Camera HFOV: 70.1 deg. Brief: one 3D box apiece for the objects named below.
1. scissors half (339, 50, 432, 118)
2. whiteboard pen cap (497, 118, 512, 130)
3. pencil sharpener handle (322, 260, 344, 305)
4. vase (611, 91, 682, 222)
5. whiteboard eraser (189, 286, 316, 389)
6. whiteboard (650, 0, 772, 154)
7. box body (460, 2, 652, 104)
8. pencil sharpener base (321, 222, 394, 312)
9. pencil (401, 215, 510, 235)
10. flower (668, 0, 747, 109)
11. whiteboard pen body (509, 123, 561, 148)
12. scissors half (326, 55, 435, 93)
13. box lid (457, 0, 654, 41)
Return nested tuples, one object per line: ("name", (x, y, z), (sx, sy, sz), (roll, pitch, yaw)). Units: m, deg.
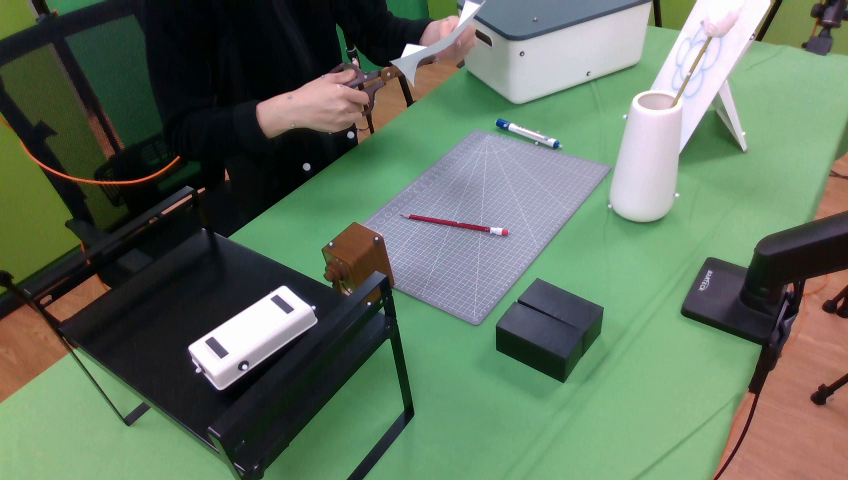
("scissors half", (-0.058, -0.236, 0.913), (0.174, 0.040, 0.013), (-31, 15, 25))
("whiteboard pen cap", (0.165, -0.235, 1.227), (0.033, 0.018, 0.018), (31, 53, 31))
("pencil sharpener handle", (-0.131, 0.061, 0.839), (0.035, 0.068, 0.031), (29, 56, 27))
("vase", (0.348, -0.125, 0.935), (0.098, 0.201, 0.097), (-3, 40, 3))
("whiteboard eraser", (-0.166, 0.096, 0.593), (0.113, 0.042, 0.055), (-36, 47, -29))
("whiteboard", (0.543, -0.298, 1.076), (0.144, 0.305, 0.216), (12, 40, -7))
("box body", (0.291, -0.465, 1.371), (0.365, 0.161, 0.252), (-22, 42, -16))
("pencil sharpener base", (-0.096, 0.041, 0.873), (0.061, 0.107, 0.077), (26, 54, 32))
("pencil", (0.049, -0.027, 1.007), (0.193, 0.012, 0.012), (10, 43, 21))
("flower", (0.354, -0.187, 0.879), (0.038, 0.362, 0.044), (30, 48, 14))
("whiteboard pen body", (0.209, -0.211, 1.195), (0.139, 0.017, 0.017), (30, 52, 33))
("scissors half", (-0.067, -0.254, 0.905), (0.174, 0.040, 0.013), (-7, 29, 15))
("box lid", (0.285, -0.522, 1.323), (0.373, 0.015, 0.261), (-22, 43, -16))
